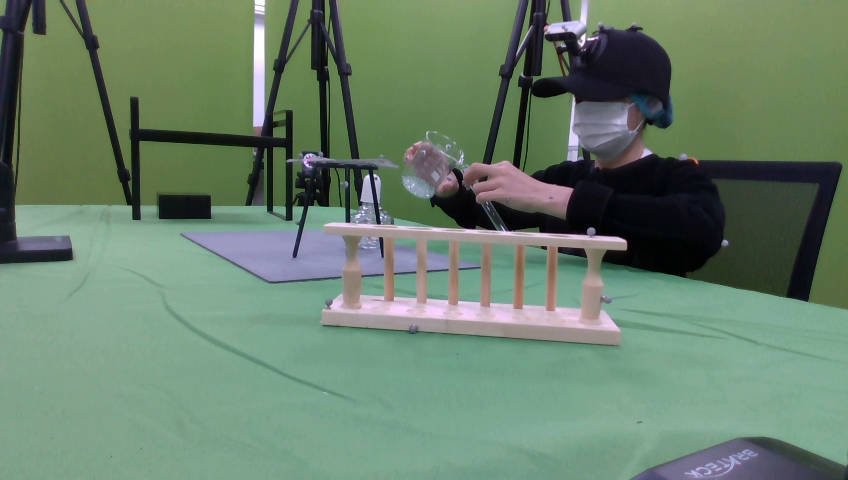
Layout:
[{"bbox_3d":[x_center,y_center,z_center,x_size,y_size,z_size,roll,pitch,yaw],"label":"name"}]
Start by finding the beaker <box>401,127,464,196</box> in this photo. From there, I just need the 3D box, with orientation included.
[{"bbox_3d":[0.014,-0.130,1.035,0.084,0.100,0.074,45,32,13],"label":"beaker"}]

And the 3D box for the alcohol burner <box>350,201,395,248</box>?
[{"bbox_3d":[-0.084,-0.048,0.953,0.078,0.119,0.078,1,6,0],"label":"alcohol burner"}]

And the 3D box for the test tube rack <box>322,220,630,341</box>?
[{"bbox_3d":[0.041,0.029,0.512,0.242,0.085,0.067,3,7,5],"label":"test tube rack"}]

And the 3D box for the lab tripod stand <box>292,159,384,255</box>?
[{"bbox_3d":[-0.105,-0.039,0.797,0.148,0.131,0.148,2,5,0],"label":"lab tripod stand"}]

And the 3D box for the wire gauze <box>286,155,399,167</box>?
[{"bbox_3d":[-0.101,-0.105,0.788,0.121,0.011,0.125,4,6,6],"label":"wire gauze"}]

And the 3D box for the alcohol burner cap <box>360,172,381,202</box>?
[{"bbox_3d":[-0.081,-0.084,0.949,0.034,0.048,0.034,7,7,-1],"label":"alcohol burner cap"}]

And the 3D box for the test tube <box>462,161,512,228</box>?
[{"bbox_3d":[0.101,-0.067,0.968,0.017,0.149,0.017,-25,-23,-11],"label":"test tube"}]
